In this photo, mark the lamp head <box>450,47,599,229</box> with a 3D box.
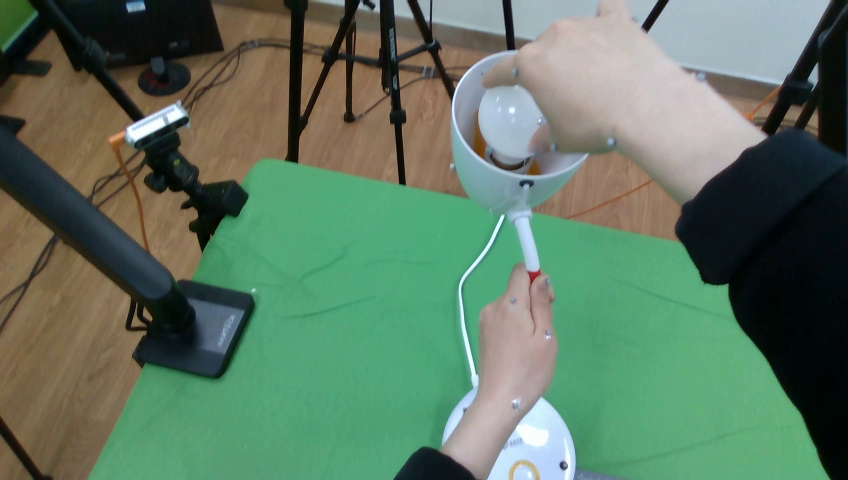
[{"bbox_3d":[0.073,-0.072,0.494,0.112,0.124,0.111,1,62,-2],"label":"lamp head"}]

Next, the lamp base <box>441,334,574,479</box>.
[{"bbox_3d":[0.096,0.191,0.667,0.161,0.182,0.177,-24,58,-18],"label":"lamp base"}]

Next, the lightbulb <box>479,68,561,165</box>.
[{"bbox_3d":[0.070,-0.087,0.466,0.059,0.108,0.059,0,71,1],"label":"lightbulb"}]
